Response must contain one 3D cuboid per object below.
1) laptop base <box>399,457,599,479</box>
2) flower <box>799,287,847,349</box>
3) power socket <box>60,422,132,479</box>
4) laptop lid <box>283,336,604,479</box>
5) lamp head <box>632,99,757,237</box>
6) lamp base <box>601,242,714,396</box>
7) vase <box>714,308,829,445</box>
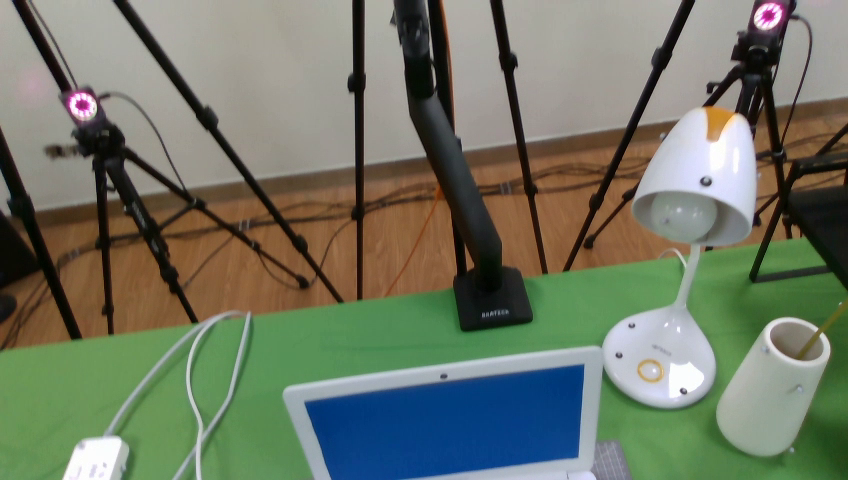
[{"bbox_3d":[0.054,0.390,0.714,0.354,0.023,0.233,-7,48,0],"label":"laptop base"},{"bbox_3d":[0.441,0.112,0.697,0.038,0.364,0.043,10,36,-6],"label":"flower"},{"bbox_3d":[-0.459,0.348,0.813,0.072,0.033,0.224,-5,44,2],"label":"power socket"},{"bbox_3d":[0.032,0.215,0.723,0.357,0.244,0.013,-9,38,1],"label":"laptop lid"},{"bbox_3d":[0.280,-0.076,0.610,0.112,0.113,0.122,15,67,22],"label":"lamp head"},{"bbox_3d":[0.344,0.098,0.854,0.159,0.182,0.178,18,48,24],"label":"lamp base"},{"bbox_3d":[0.430,0.172,0.755,0.098,0.202,0.097,-5,44,5],"label":"vase"}]
